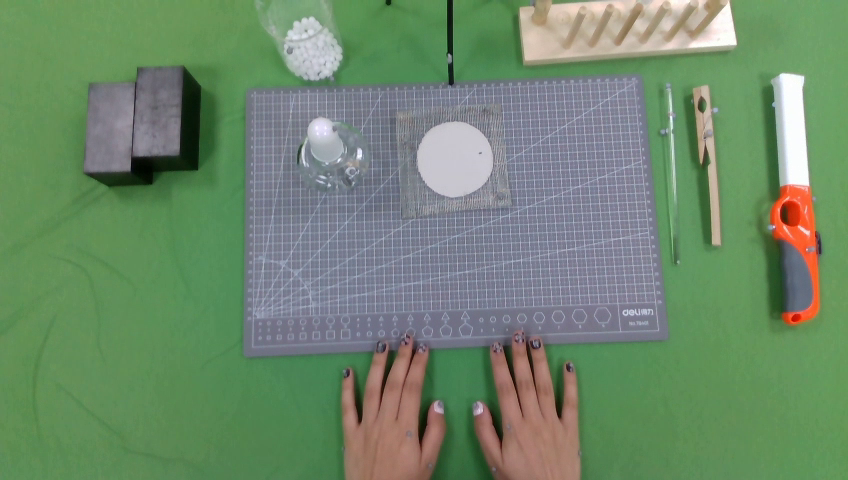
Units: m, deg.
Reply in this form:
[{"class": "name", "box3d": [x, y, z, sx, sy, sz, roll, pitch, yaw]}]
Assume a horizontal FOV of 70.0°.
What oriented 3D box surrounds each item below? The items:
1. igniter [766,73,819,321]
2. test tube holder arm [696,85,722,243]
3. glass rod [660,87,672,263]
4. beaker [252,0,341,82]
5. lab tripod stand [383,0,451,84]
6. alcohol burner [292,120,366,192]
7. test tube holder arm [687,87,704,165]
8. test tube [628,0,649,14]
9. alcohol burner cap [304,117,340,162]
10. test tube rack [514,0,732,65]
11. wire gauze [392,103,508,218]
[{"class": "igniter", "box3d": [0.398, -0.050, 0.659, 0.057, 0.025, 0.275, 4, 80, -9]}, {"class": "test tube holder arm", "box3d": [0.313, -0.084, 0.668, 0.013, 0.015, 0.177, -11, 78, 35]}, {"class": "glass rod", "box3d": [0.270, -0.074, 0.674, 0.008, 0.008, 0.199, 1, 83, 0]}, {"class": "beaker", "box3d": [-0.133, -0.222, 0.653, 0.084, 0.100, 0.074, 16, 80, 4]}, {"class": "lab tripod stand", "box3d": [0.016, -0.262, 0.641, 0.148, 0.132, 0.148, 0, 79, 2]}, {"class": "alcohol burner", "box3d": [-0.100, -0.091, 0.620, 0.078, 0.119, 0.077, 0, 78, 2]}, {"class": "test tube holder arm", "box3d": [0.306, -0.128, 0.678, 0.010, 0.015, 0.087, -10, 78, 35]}, {"class": "test tube", "box3d": [0.245, -0.276, 0.619, 0.017, 0.150, 0.017, 1, 79, -5]}, {"class": "alcohol burner cap", "box3d": [-0.100, -0.100, 0.585, 0.034, 0.048, 0.033, 1, 70, -2]}, {"class": "test tube rack", "box3d": [0.228, -0.251, 0.665, 0.242, 0.085, 0.066, -5, 80, -1]}, {"class": "wire gauze", "box3d": [0.028, -0.090, 0.674, 0.121, 0.011, 0.124, -5, 84, -2]}]
